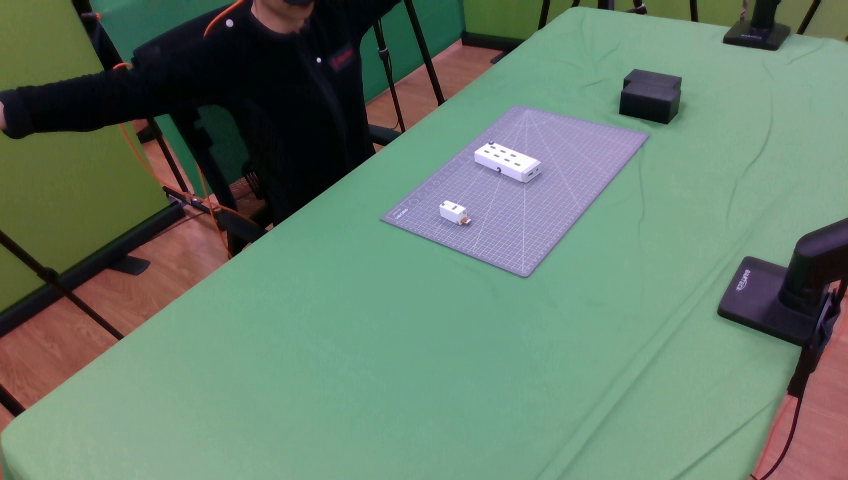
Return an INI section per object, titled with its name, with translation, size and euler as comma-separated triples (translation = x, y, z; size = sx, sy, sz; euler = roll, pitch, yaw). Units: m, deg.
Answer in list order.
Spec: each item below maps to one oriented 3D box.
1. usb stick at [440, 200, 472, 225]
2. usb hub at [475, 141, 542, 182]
[usb stick]
translation = 0.055, -0.044, 1.016
size = 0.058, 0.027, 0.021
euler = 29, 52, 33
[usb hub]
translation = 0.155, -0.146, 1.118
size = 0.050, 0.025, 0.124
euler = -35, 47, -28
